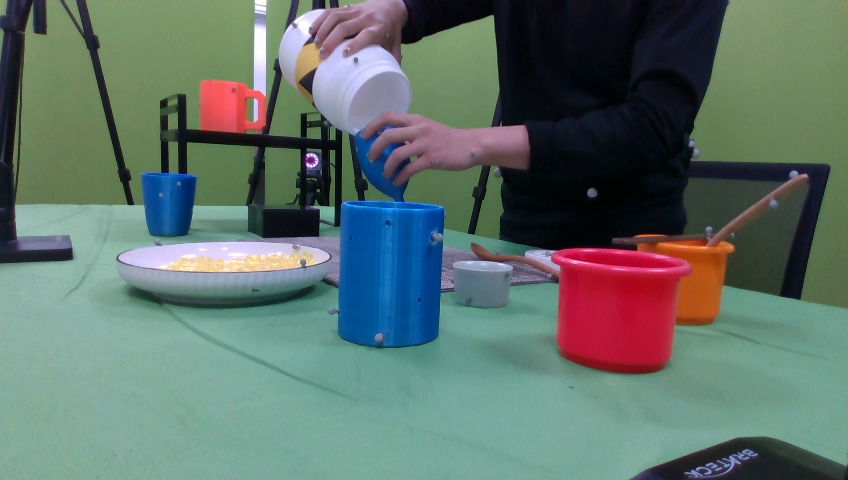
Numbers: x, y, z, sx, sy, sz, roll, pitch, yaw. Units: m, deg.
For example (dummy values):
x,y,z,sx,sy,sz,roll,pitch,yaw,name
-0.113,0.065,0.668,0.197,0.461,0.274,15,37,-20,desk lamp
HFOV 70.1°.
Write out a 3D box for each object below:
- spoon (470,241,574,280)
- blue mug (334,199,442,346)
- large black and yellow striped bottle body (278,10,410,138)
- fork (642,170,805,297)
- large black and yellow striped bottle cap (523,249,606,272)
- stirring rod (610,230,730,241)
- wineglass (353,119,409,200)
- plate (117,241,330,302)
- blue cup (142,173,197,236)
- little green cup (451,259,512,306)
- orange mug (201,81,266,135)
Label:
x,y,z,sx,sy,sz,roll,pitch,yaw,name
0.124,0.025,0.800,0.042,0.021,0.192,24,-6,-34,spoon
-0.034,0.020,0.498,0.083,0.106,0.116,0,7,-19,blue mug
-0.116,-0.242,0.890,0.131,0.130,0.183,-5,41,-45,large black and yellow striped bottle body
0.261,0.004,0.545,0.028,0.018,0.207,5,-37,-15,fork
0.198,0.028,0.851,0.115,0.019,0.115,5,5,0,large black and yellow striped bottle cap
0.241,-0.005,0.582,0.177,0.006,0.014,-3,10,-34,stirring rod
-0.043,-0.078,0.842,0.074,0.172,0.074,-19,-10,-3,wineglass
-0.203,0.031,0.630,0.209,0.038,0.209,3,7,0,plate
-0.425,-0.060,1.014,0.093,0.100,0.092,4,9,0,blue cup
0.057,0.043,0.611,0.061,0.038,0.061,3,8,0,little green cup
-0.377,-0.260,1.198,0.126,0.101,0.083,-3,8,-6,orange mug
